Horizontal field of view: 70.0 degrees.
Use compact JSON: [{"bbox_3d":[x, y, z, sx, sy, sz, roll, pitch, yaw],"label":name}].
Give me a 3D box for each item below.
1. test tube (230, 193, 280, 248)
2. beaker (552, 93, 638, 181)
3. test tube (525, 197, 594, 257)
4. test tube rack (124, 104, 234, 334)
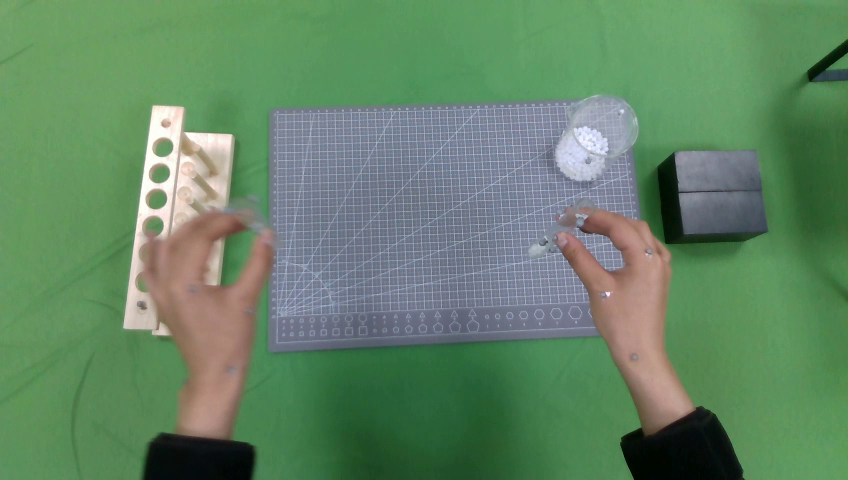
[{"bbox_3d":[-0.139,-0.013,0.513,0.017,0.150,0.017,1,79,-5],"label":"test tube"},{"bbox_3d":[0.192,-0.117,0.707,0.084,0.100,0.074,29,78,6],"label":"beaker"},{"bbox_3d":[0.118,-0.008,0.545,0.017,0.151,0.017,2,75,-7],"label":"test tube"},{"bbox_3d":[-0.268,-0.021,0.676,0.067,0.085,0.241,2,78,-2],"label":"test tube rack"}]
